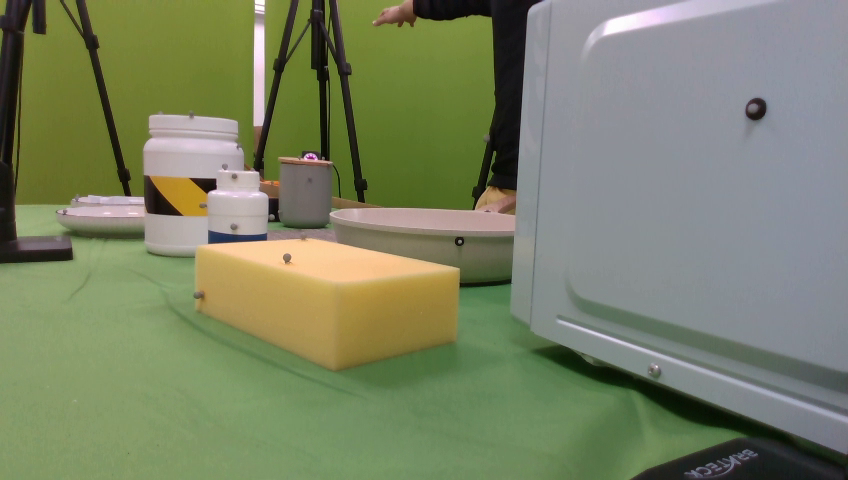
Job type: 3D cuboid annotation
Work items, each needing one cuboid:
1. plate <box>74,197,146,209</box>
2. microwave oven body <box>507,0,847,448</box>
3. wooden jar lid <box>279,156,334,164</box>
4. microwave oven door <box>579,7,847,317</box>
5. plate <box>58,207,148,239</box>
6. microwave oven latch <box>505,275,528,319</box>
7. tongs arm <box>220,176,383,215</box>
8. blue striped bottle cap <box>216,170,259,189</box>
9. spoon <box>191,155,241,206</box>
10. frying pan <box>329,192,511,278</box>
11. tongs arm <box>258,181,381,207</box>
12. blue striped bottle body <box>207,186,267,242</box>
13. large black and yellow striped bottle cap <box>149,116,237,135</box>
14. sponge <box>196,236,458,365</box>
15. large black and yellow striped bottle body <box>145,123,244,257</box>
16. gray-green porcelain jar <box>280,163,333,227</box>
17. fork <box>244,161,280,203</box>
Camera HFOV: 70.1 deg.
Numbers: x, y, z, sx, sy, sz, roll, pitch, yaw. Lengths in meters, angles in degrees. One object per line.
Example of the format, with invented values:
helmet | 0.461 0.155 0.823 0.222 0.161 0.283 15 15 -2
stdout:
plate | -0.596 -0.062 1.238 0.208 0.039 0.207 2 8 0
microwave oven body | 0.331 -0.042 0.425 0.444 0.260 0.324 -2 8 -31
wooden jar lid | -0.237 -0.154 1.213 0.108 0.020 0.108 6 9 -1
microwave oven door | 0.294 -0.067 0.570 0.358 0.243 0.039 -3 9 -31
plate | -0.496 -0.030 1.022 0.209 0.038 0.209 2 8 0
microwave oven latch | 0.100 0.042 0.471 0.079 0.029 0.030 -1 8 -28
tongs arm | -0.285 -0.104 1.445 0.389 0.027 0.028 9 -4 -23
blue striped bottle cap | -0.201 -0.066 0.654 0.044 0.020 0.044 0 6 0
spoon | -0.489 -0.136 1.417 0.041 0.021 0.194 2 -35 19
frying pan | 0.071 -0.030 0.884 0.305 0.102 0.490 7 17 27
tongs arm | -0.241 -0.095 1.374 0.387 0.026 0.050 9 0 -37
blue striped bottle body | -0.204 -0.016 0.661 0.063 0.120 0.063 2 7 0
large black and yellow striped bottle cap | -0.319 -0.158 0.841 0.115 0.019 0.115 3 6 0
sponge | -0.087 0.039 0.500 0.206 0.061 0.119 8 9 44
large black and yellow striped bottle body | -0.320 -0.075 0.851 0.131 0.184 0.130 2 8 0
gray-green porcelain jar | -0.238 -0.092 1.221 0.106 0.126 0.106 1 7 0
fork | -0.398 -0.144 1.489 0.028 0.018 0.208 23 -23 47
